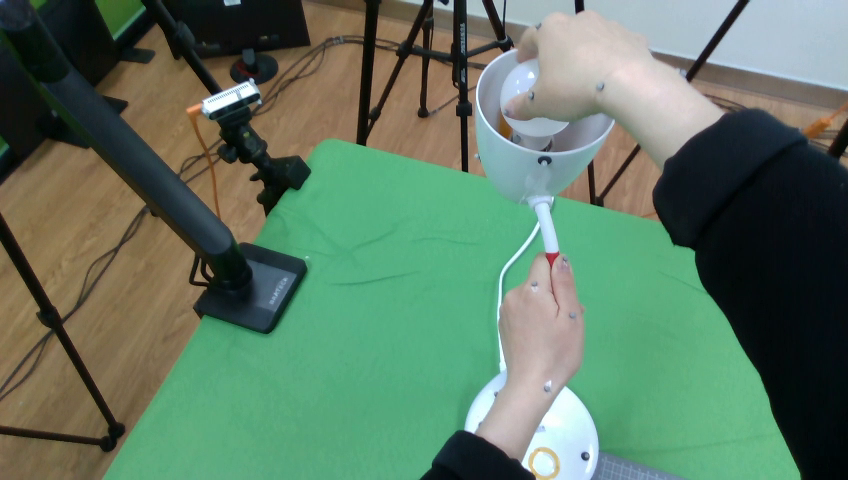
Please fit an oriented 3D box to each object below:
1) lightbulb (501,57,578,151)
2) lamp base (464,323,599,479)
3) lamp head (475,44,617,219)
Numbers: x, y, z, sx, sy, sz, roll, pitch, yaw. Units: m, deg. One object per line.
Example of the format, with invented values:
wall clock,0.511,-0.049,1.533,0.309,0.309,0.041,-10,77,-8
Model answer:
lightbulb,0.092,-0.101,0.495,0.059,0.108,0.059,-2,62,4
lamp base,0.121,0.182,0.671,0.161,0.182,0.177,-20,55,-12
lamp head,0.095,-0.082,0.518,0.112,0.124,0.111,0,57,0
